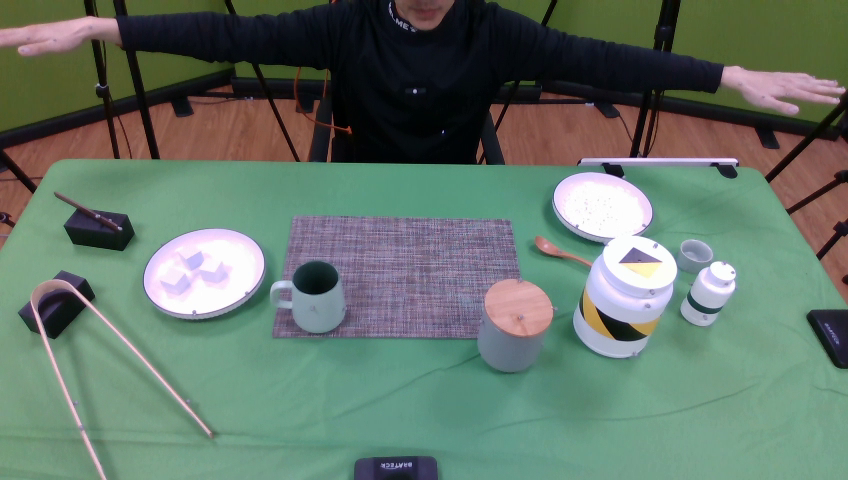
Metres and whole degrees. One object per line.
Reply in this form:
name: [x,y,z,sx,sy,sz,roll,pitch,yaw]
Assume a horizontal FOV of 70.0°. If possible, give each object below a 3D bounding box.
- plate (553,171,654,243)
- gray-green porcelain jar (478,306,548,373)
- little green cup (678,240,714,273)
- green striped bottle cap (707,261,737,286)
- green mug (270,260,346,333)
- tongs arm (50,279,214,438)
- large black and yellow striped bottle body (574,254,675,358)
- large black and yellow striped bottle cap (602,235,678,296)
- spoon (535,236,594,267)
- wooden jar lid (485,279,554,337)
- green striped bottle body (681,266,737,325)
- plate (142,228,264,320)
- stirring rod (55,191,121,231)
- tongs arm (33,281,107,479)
plate: [0.373,-0.066,1.275,0.209,0.038,0.208,2,46,-2]
gray-green porcelain jar: [0.144,0.148,0.988,0.106,0.127,0.105,2,50,-2]
little green cup: [0.530,0.033,1.190,0.061,0.039,0.061,2,46,-1]
green striped bottle cap: [0.510,0.057,1.036,0.044,0.020,0.044,0,45,0]
green mug: [-0.198,0.097,1.026,0.125,0.105,0.092,0,46,-3]
tongs arm: [-0.459,0.178,0.949,0.386,0.028,0.028,37,60,17]
large black and yellow striped bottle body: [0.335,0.096,1.014,0.131,0.185,0.130,2,46,-2]
large black and yellow striped bottle cap: [0.340,0.037,0.955,0.115,0.019,0.114,2,47,-1]
spoon: [0.303,0.040,1.178,0.193,0.022,0.041,25,31,19]
wooden jar lid: [0.147,0.108,0.940,0.108,0.021,0.107,4,47,-4]
green striped bottle body: [0.507,0.093,1.074,0.063,0.120,0.063,2,46,-2]
plate: [-0.395,0.064,1.095,0.208,0.039,0.206,2,46,-2]
stirring rod: [-0.632,-0.055,1.138,0.175,0.014,0.006,24,50,19]
tongs arm: [-0.517,0.214,0.910,0.051,0.026,0.383,-28,63,-27]
